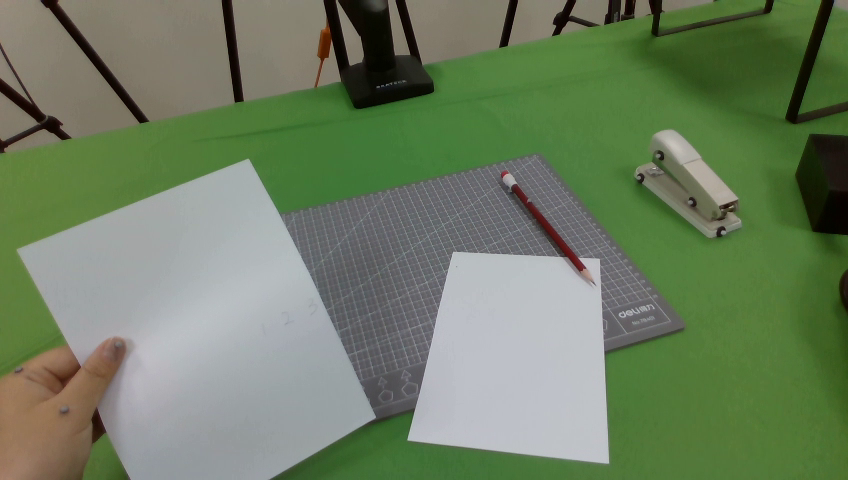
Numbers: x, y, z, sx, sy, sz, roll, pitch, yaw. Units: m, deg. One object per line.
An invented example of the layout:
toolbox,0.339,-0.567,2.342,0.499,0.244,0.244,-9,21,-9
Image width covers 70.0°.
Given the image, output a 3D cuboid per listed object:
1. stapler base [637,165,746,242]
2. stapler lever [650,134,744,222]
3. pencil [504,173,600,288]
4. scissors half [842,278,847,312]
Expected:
stapler base,0.275,-0.048,0.629,0.041,0.025,0.129,-19,43,-11
stapler lever,0.273,-0.066,0.611,0.027,0.040,0.116,-20,43,-11
pencil,0.126,-0.015,0.616,0.012,0.012,0.191,-17,43,-12
scissors half,0.387,0.002,0.518,0.040,0.013,0.174,12,64,25
